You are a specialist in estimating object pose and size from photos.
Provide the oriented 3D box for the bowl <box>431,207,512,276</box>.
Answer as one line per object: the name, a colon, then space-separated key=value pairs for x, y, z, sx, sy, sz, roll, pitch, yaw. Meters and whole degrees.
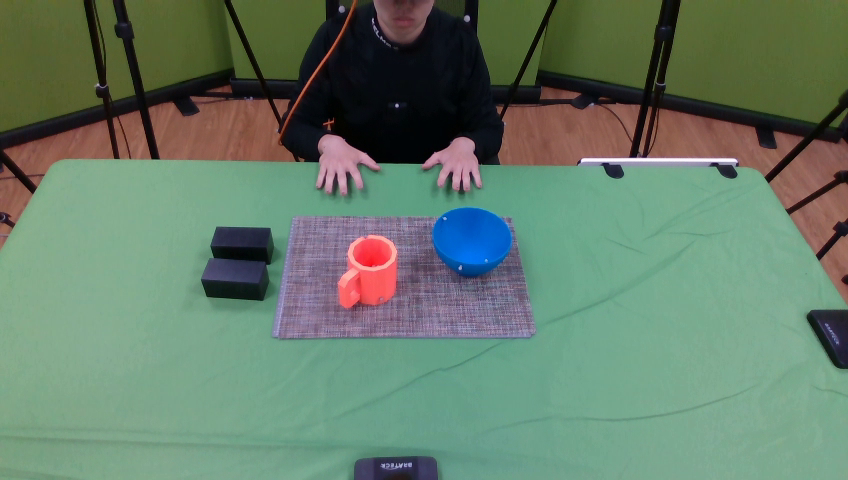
bowl: x=0.086 y=0.016 z=1.147 sx=0.151 sy=0.077 sz=0.150 roll=2 pitch=46 yaw=-2

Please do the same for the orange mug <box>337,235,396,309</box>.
orange mug: x=-0.104 y=0.063 z=1.073 sx=0.083 sy=0.101 sz=0.126 roll=32 pitch=48 yaw=24
